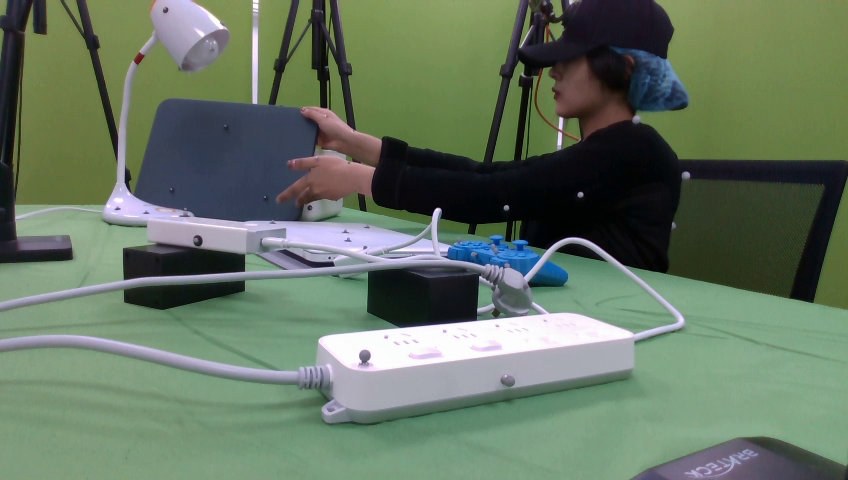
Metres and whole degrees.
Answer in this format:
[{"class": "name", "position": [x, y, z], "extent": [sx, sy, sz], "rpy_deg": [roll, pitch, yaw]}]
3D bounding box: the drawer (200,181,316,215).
[{"class": "drawer", "position": [-0.372, -0.098, 1.391], "extent": [0.212, 0.073, 0.194], "rpy_deg": [0, 7, 5]}]

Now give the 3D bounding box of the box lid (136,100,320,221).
[{"class": "box lid", "position": [-0.409, -0.165, 1.266], "extent": [0.371, 0.263, 0.015], "rpy_deg": [5, -15, 9]}]

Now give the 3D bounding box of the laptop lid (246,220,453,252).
[{"class": "laptop lid", "position": [-0.123, -0.009, 0.945], "extent": [0.243, 0.013, 0.355], "rpy_deg": [1, 7, -29]}]

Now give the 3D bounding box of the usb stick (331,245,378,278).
[{"class": "usb stick", "position": [-0.085, 0.026, 0.701], "extent": [0.059, 0.027, 0.021], "rpy_deg": [-18, 17, 26]}]

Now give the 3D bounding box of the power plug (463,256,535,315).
[{"class": "power plug", "position": [0.064, 0.039, 0.530], "extent": [0.072, 0.052, 0.035], "rpy_deg": [31, 43, 7]}]

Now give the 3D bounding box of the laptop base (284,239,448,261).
[{"class": "laptop base", "position": [-0.125, 0.002, 0.945], "extent": [0.237, 0.023, 0.352], "rpy_deg": [2, 6, -31]}]

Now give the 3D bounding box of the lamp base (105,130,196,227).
[{"class": "lamp base", "position": [-0.532, -0.120, 1.153], "extent": [0.179, 0.180, 0.161], "rpy_deg": [1, 7, 8]}]

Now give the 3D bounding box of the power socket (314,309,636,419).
[{"class": "power socket", "position": [0.039, 0.072, 0.385], "extent": [0.228, 0.032, 0.072], "rpy_deg": [-2, 7, -28]}]

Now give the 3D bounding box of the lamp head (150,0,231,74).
[{"class": "lamp head", "position": [-0.432, -0.375, 1.086], "extent": [0.123, 0.112, 0.112], "rpy_deg": [42, 8, -3]}]

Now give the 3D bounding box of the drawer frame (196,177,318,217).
[{"class": "drawer frame", "position": [-0.375, -0.102, 1.393], "extent": [0.213, 0.082, 0.202], "rpy_deg": [1, 7, 6]}]

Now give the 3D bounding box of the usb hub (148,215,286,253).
[{"class": "usb hub", "position": [-0.197, -0.006, 0.575], "extent": [0.125, 0.025, 0.050], "rpy_deg": [6, 7, 22]}]

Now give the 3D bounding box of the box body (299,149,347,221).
[{"class": "box body", "position": [-0.384, -0.137, 1.406], "extent": [0.364, 0.160, 0.254], "rpy_deg": [3, 8, 7]}]

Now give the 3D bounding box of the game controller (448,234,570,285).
[{"class": "game controller", "position": [0.099, 0.021, 0.756], "extent": [0.097, 0.051, 0.154], "rpy_deg": [-6, 10, -29]}]
